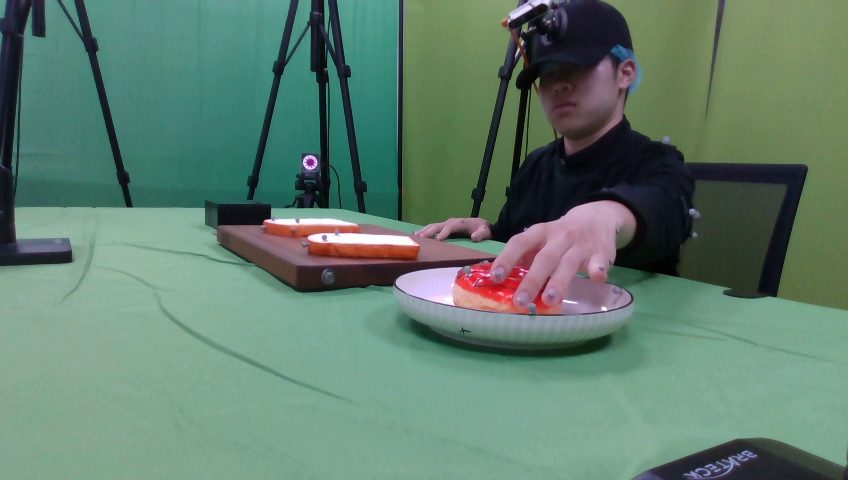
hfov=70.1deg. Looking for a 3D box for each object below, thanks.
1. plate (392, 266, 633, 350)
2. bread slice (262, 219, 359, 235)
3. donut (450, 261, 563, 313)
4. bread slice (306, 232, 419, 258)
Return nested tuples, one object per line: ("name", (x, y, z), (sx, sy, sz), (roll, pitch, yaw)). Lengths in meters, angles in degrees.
("plate", (0.074, 0.057, 0.533), (0.209, 0.038, 0.209), (2, 7, 0))
("bread slice", (-0.179, -0.021, 0.931), (0.132, 0.019, 0.104), (-1, 7, -35))
("donut", (0.071, 0.046, 0.528), (0.099, 0.048, 0.099), (6, 8, -1))
("bread slice", (-0.077, 0.005, 0.746), (0.135, 0.018, 0.106), (2, 7, -12))
